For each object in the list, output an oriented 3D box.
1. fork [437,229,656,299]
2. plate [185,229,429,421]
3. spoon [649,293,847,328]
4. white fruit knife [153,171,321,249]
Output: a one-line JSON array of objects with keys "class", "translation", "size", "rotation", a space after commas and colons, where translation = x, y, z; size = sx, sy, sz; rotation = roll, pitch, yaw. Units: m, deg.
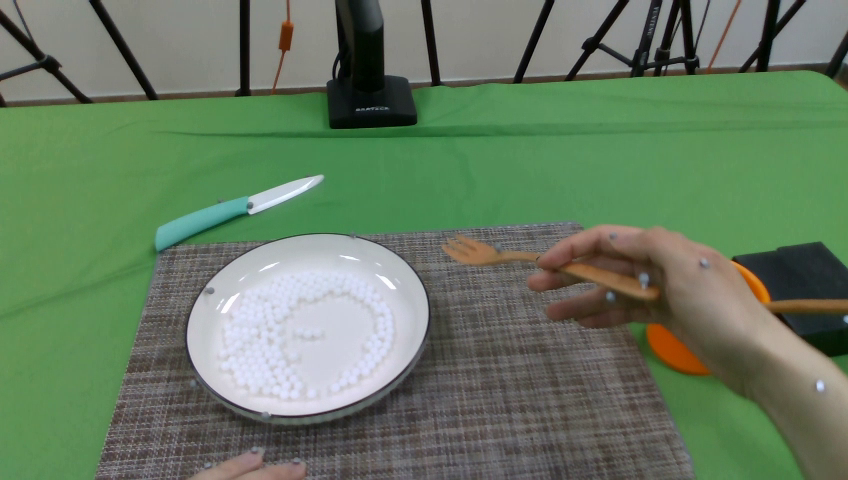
[{"class": "fork", "translation": [0.077, 0.014, 0.438], "size": [0.028, 0.019, 0.205], "rotation": [-23, 20, -30]}, {"class": "plate", "translation": [-0.099, 0.072, 0.538], "size": [0.209, 0.038, 0.207], "rotation": [1, 42, -1]}, {"class": "spoon", "translation": [0.271, 0.055, 0.497], "size": [0.041, 0.193, 0.021], "rotation": [-31, 96, -34]}, {"class": "white fruit knife", "translation": [-0.204, -0.041, 0.678], "size": [0.207, 0.016, 0.027], "rotation": [-27, 73, -32]}]
